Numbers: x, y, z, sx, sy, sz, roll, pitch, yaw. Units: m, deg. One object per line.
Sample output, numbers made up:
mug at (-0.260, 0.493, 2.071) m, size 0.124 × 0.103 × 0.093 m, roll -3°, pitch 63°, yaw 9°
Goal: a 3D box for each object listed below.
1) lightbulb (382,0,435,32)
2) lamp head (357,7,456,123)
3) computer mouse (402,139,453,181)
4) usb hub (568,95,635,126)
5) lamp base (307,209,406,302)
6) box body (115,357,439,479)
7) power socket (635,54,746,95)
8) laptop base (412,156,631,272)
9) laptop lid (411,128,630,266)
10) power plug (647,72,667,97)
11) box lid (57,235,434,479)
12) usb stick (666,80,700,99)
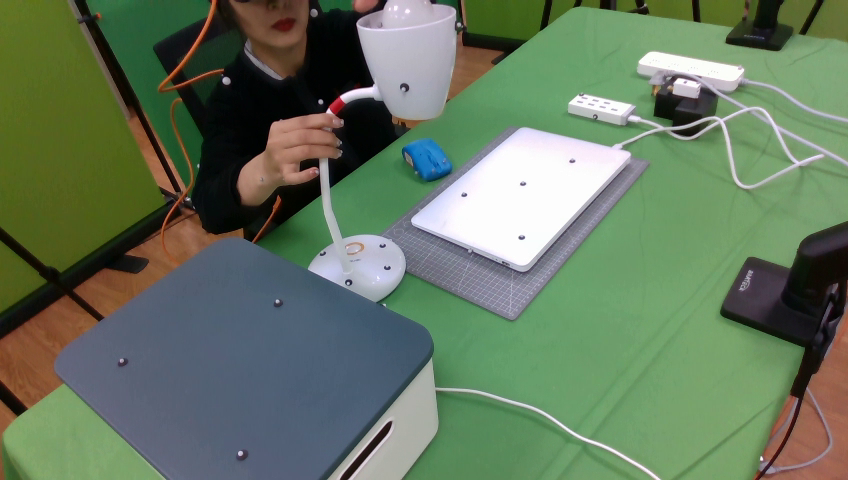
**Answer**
lightbulb at (-0.015, -0.224, 0.691) m, size 0.059 × 0.108 × 0.059 m, roll -6°, pitch 26°, yaw 3°
lamp head at (-0.018, -0.198, 0.701) m, size 0.112 × 0.123 × 0.112 m, roll -1°, pitch 33°, yaw 1°
computer mouse at (0.005, -0.159, 1.165) m, size 0.063 × 0.041 × 0.116 m, roll -21°, pitch 45°, yaw -17°
usb hub at (0.360, -0.264, 1.228) m, size 0.124 × 0.025 × 0.049 m, roll 24°, pitch 49°, yaw 34°
lamp base at (-0.116, -0.003, 0.889) m, size 0.161 × 0.181 × 0.178 m, roll -15°, pitch 43°, yaw -5°
box body at (-0.189, 0.179, 0.702) m, size 0.361 × 0.161 × 0.255 m, roll 22°, pitch 49°, yaw 32°
power socket at (0.564, -0.357, 1.293) m, size 0.225 × 0.033 × 0.072 m, roll 24°, pitch 51°, yaw 33°
laptop base at (0.176, -0.084, 1.055) m, size 0.233 × 0.023 × 0.355 m, roll 21°, pitch 48°, yaw 36°
laptop lid at (0.172, -0.093, 1.049) m, size 0.239 × 0.013 × 0.358 m, roll 24°, pitch 50°, yaw 36°
power plug at (0.493, -0.321, 1.260) m, size 0.073 × 0.052 × 0.035 m, roll 1°, pitch 20°, yaw -41°
box lid at (-0.198, 0.123, 0.653) m, size 0.368 × 0.015 × 0.264 m, roll 22°, pitch 49°, yaw 32°
usb stick at (0.492, -0.288, 1.152) m, size 0.058 × 0.027 × 0.021 m, roll 20°, pitch 51°, yaw 34°
